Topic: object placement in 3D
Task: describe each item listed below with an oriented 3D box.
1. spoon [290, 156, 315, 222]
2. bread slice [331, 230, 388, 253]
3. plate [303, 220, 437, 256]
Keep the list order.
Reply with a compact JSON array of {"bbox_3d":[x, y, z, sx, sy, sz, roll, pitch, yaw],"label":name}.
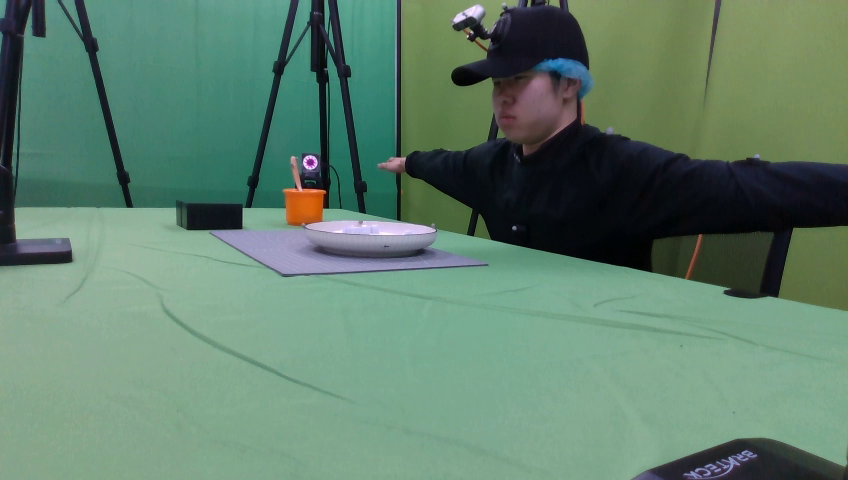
[{"bbox_3d":[-0.274,-0.116,1.329,0.042,0.021,0.193,-3,49,-25],"label":"spoon"},{"bbox_3d":[-0.088,0.000,0.947,0.105,0.019,0.131,-4,11,-45],"label":"bread slice"},{"bbox_3d":[-0.084,-0.003,0.951,0.209,0.038,0.209,3,7,0],"label":"plate"}]
